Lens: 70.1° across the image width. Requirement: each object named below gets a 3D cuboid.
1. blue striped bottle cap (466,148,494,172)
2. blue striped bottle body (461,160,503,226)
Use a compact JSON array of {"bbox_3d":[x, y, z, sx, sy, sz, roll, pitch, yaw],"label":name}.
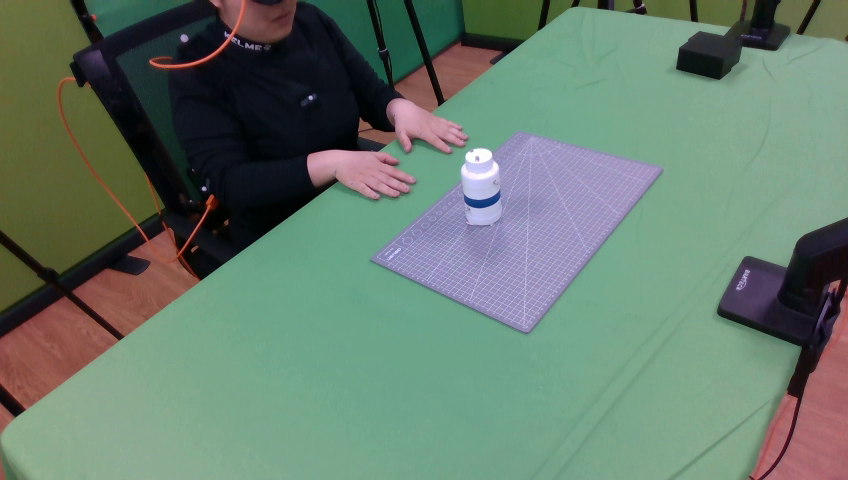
[{"bbox_3d":[0.088,-0.127,0.955,0.044,0.021,0.044,-6,41,6],"label":"blue striped bottle cap"},{"bbox_3d":[0.095,-0.088,0.987,0.063,0.121,0.063,-6,40,5],"label":"blue striped bottle body"}]
